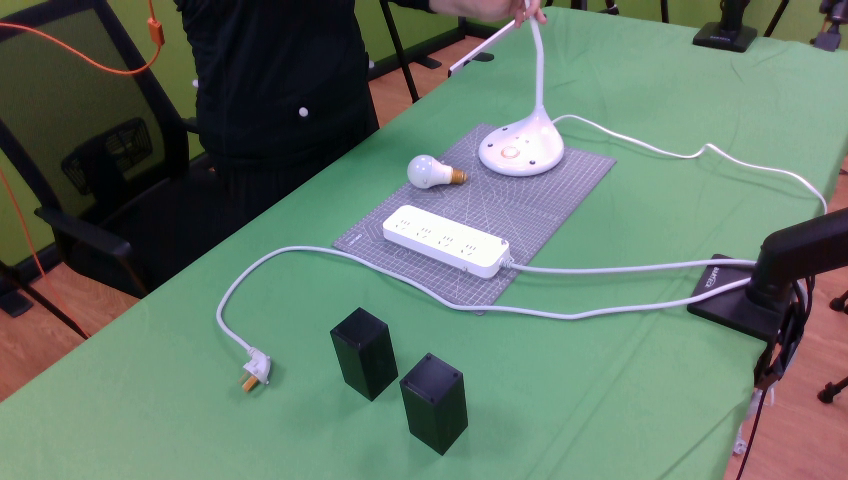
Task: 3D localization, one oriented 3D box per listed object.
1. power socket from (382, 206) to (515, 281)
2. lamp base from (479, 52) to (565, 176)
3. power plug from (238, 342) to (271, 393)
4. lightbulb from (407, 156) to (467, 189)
[{"bbox_3d":[0.032,0.002,0.950,0.225,0.033,0.072,21,49,29],"label":"power socket"},{"bbox_3d":[0.181,-0.235,1.093,0.159,0.181,0.179,18,44,27],"label":"lamp base"},{"bbox_3d":[-0.230,0.172,0.801,0.072,0.035,0.053,9,51,50],"label":"power plug"},{"bbox_3d":[0.023,-0.117,1.081,0.108,0.059,0.059,7,40,-7],"label":"lightbulb"}]
